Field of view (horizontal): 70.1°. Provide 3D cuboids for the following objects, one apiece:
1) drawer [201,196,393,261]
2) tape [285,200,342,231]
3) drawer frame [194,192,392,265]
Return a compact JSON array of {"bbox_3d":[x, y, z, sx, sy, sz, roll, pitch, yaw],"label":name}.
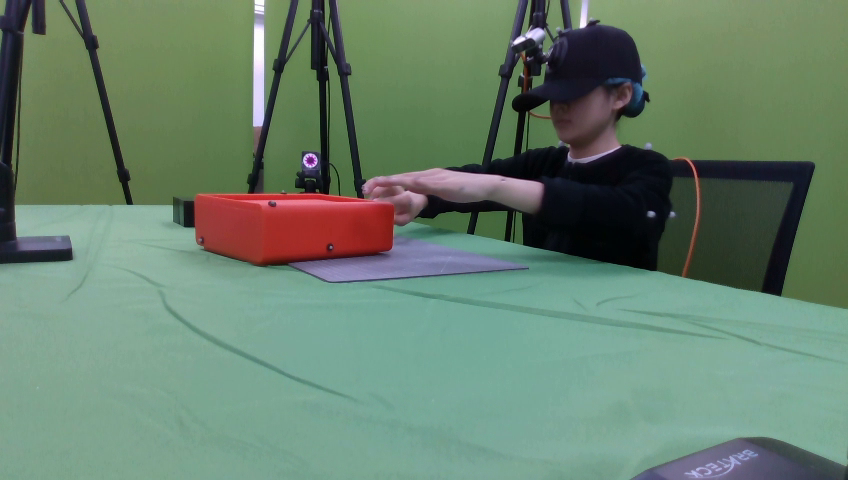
[{"bbox_3d":[-0.186,-0.022,0.886,0.213,0.073,0.193,-5,12,-43],"label":"drawer"},{"bbox_3d":[-0.223,-0.051,1.221,0.117,0.052,0.117,3,7,0],"label":"tape"},{"bbox_3d":[-0.190,-0.024,0.882,0.215,0.082,0.200,-5,11,-44],"label":"drawer frame"}]
